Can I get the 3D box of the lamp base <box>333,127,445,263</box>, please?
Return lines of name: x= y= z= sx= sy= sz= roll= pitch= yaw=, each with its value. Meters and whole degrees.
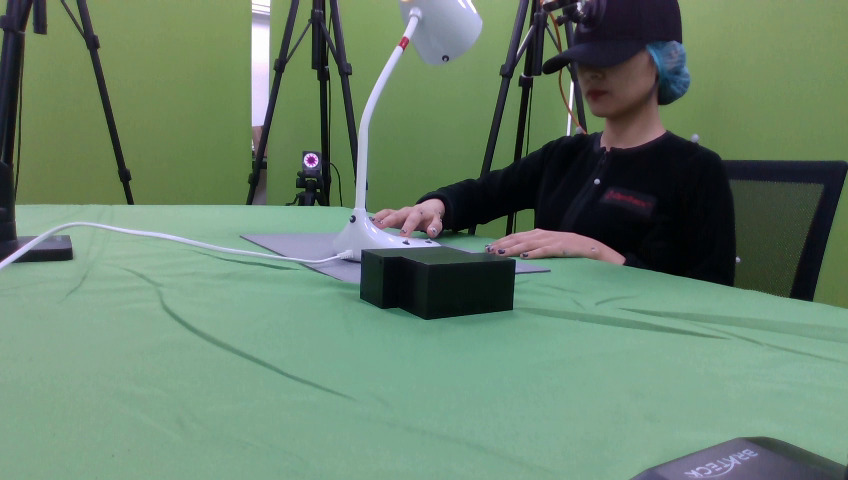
lamp base: x=-0.054 y=-0.064 z=0.842 sx=0.160 sy=0.180 sz=0.180 roll=6 pitch=11 yaw=30

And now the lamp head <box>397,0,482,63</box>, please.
lamp head: x=0.011 y=-0.341 z=0.899 sx=0.112 sy=0.112 sz=0.123 roll=7 pitch=-21 yaw=37
